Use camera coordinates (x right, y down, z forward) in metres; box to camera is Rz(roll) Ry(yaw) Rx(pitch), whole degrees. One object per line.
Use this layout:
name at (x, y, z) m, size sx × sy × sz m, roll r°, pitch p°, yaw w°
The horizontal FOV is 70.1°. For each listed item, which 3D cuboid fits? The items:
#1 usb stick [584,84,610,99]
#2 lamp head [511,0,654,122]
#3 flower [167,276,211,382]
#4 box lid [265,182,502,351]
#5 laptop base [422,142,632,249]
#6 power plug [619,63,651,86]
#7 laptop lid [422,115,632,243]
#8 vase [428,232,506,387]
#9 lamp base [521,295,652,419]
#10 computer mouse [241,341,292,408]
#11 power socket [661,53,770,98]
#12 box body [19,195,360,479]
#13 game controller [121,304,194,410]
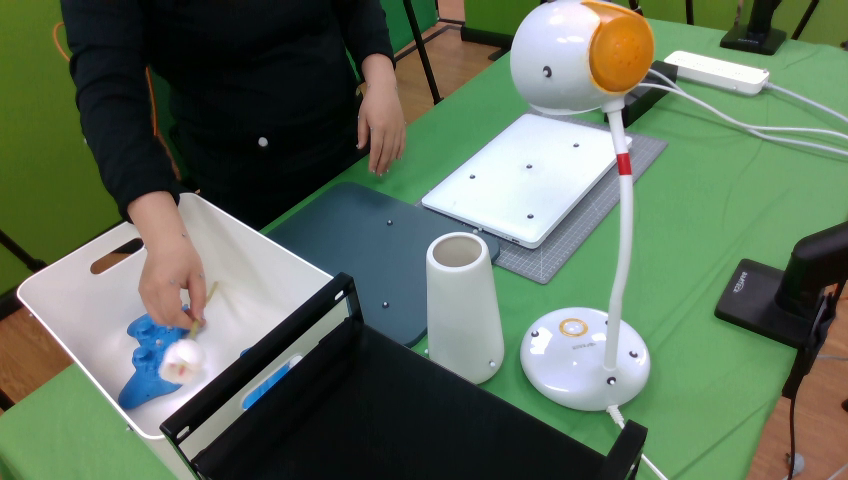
usb stick at (0.353, -0.306, 1.252) m, size 0.027 × 0.021 × 0.058 m, roll -2°, pitch 1°, yaw -39°
lamp head at (0.155, -0.168, 0.563) m, size 0.113 × 0.113 × 0.122 m, roll -18°, pitch 23°, yaw -12°
flower at (-0.289, 0.094, 0.775) m, size 0.044 × 0.038 × 0.359 m, roll -36°, pitch 20°, yaw -7°
box lid at (-0.087, 0.023, 0.971) m, size 0.368 × 0.015 × 0.264 m, roll 23°, pitch 49°, yaw 31°
laptop base at (0.192, -0.117, 1.087) m, size 0.233 × 0.023 × 0.355 m, roll 21°, pitch 47°, yaw 34°
power plug at (0.435, -0.341, 1.266) m, size 0.035 × 0.053 × 0.072 m, roll 5°, pitch 31°, yaw -14°
laptop lid at (0.189, -0.126, 1.081) m, size 0.239 × 0.013 × 0.358 m, roll 23°, pitch 48°, yaw 35°
vase at (0.050, 0.087, 0.728) m, size 0.098 × 0.201 × 0.097 m, roll -3°, pitch 40°, yaw 3°
lamp base at (0.200, 0.095, 0.710) m, size 0.161 × 0.181 × 0.178 m, roll -16°, pitch 43°, yaw -10°
computer mouse at (-0.201, 0.177, 0.776) m, size 0.063 × 0.041 × 0.116 m, roll -11°, pitch 44°, yaw -8°
power socket at (0.616, -0.355, 1.292) m, size 0.225 × 0.033 × 0.072 m, roll 29°, pitch 53°, yaw 35°
box body at (-0.288, 0.118, 0.772) m, size 0.361 × 0.161 × 0.255 m, roll 26°, pitch 50°, yaw 33°
game controller at (-0.364, 0.149, 0.828) m, size 0.097 × 0.052 × 0.154 m, roll -13°, pitch 41°, yaw -10°
